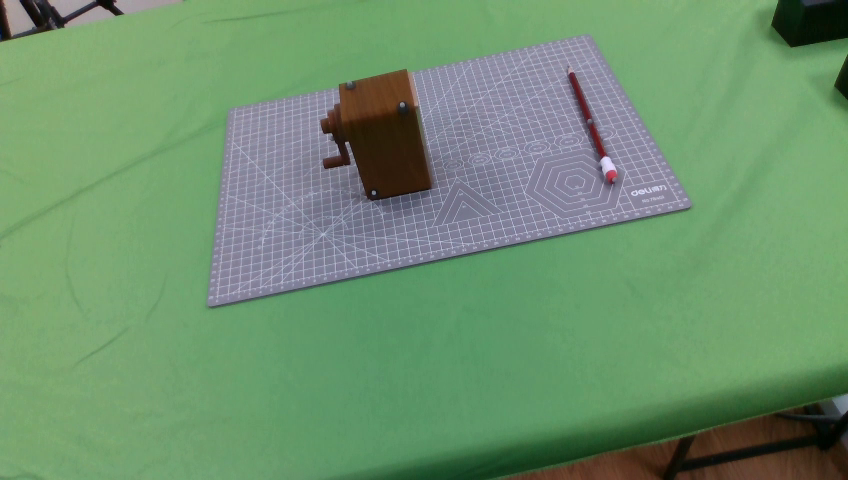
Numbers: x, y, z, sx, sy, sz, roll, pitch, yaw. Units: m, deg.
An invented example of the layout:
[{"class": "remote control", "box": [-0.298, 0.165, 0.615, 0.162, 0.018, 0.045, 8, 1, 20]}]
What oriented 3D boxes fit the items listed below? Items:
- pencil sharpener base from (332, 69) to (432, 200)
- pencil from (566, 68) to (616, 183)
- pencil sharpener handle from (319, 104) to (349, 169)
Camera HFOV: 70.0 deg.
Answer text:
[{"class": "pencil sharpener base", "box": [-0.039, -0.098, 0.585, 0.077, 0.108, 0.060, -12, 50, 1]}, {"class": "pencil", "box": [0.171, -0.127, 0.635, 0.012, 0.012, 0.192, -9, 48, 4]}, {"class": "pencil sharpener handle", "box": [-0.091, -0.095, 0.577, 0.030, 0.068, 0.035, -12, 50, 1]}]
